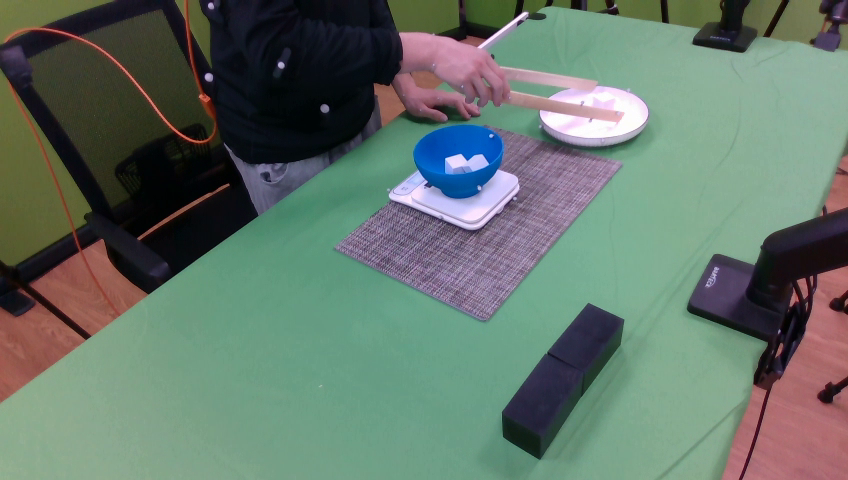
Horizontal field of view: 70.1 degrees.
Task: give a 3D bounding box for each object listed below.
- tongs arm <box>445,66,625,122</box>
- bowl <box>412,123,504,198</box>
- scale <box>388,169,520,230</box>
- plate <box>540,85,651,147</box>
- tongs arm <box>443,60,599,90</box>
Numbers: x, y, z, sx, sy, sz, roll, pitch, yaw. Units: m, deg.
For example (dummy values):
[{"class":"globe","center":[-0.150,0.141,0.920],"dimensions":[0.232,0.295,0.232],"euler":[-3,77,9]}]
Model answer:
[{"class":"tongs arm","center":[0.212,-0.258,1.089],"dimensions":[0.388,0.026,0.050],"euler":[0,51,-31]},{"class":"bowl","center":[0.059,-0.123,1.007],"dimensions":[0.151,0.077,0.150],"euler":[-5,41,5]},{"class":"scale","center":[0.050,-0.090,1.051],"dimensions":[0.199,0.032,0.149],"euler":[24,49,31]},{"class":"plate","center":[0.333,-0.239,1.186],"dimensions":[0.207,0.039,0.206],"euler":[-4,41,4]},{"class":"tongs arm","center":[0.193,-0.301,1.121],"dimensions":[0.391,0.027,0.028],"euler":[-5,57,-35]}]
